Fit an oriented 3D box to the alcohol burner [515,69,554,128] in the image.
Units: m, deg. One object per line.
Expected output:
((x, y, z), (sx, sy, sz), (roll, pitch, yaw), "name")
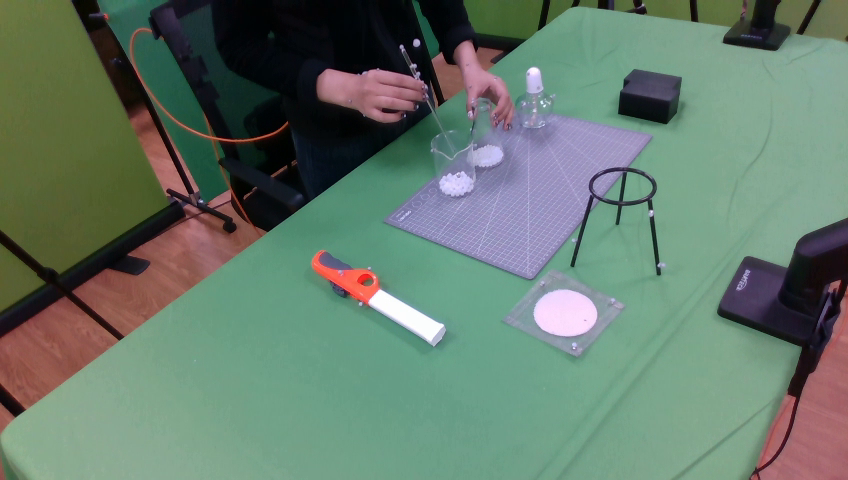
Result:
((0.221, -0.285, 1.203), (0.078, 0.119, 0.077), (-4, 39, 4), "alcohol burner")

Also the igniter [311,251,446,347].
((-0.078, 0.081, 0.899), (0.274, 0.025, 0.057), (27, 62, 35), "igniter")

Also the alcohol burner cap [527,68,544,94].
((0.216, -0.312, 1.179), (0.034, 0.048, 0.033), (-9, 40, 8), "alcohol burner cap")

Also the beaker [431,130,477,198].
((0.055, -0.130, 1.064), (0.074, 0.101, 0.083), (-4, 41, 8), "beaker")

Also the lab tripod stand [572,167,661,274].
((0.283, -0.030, 0.879), (0.148, 0.132, 0.147), (-7, 38, 6), "lab tripod stand")

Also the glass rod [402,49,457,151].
((0.012, -0.223, 0.982), (0.008, 0.201, 0.008), (-20, 39, 17), "glass rod")

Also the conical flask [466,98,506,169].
((0.111, -0.199, 1.116), (0.075, 0.122, 0.075), (-5, 40, 5), "conical flask")

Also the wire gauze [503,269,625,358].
((0.194, 0.100, 0.840), (0.120, 0.011, 0.125), (27, 54, 36), "wire gauze")
